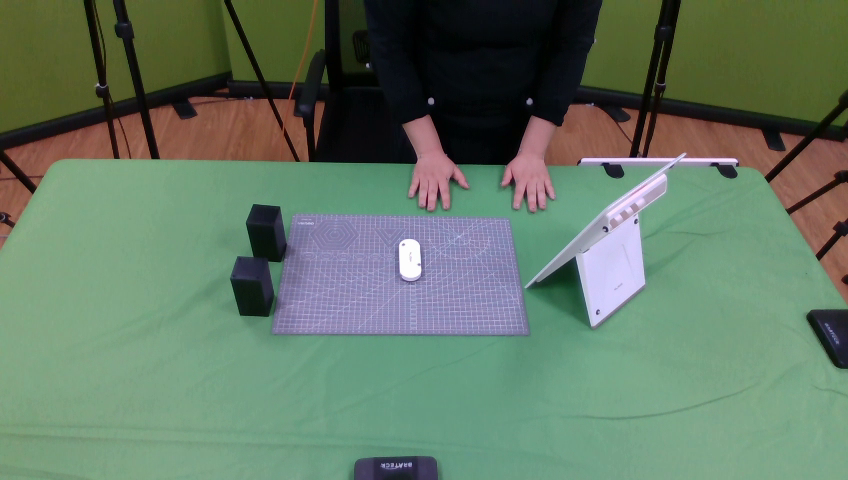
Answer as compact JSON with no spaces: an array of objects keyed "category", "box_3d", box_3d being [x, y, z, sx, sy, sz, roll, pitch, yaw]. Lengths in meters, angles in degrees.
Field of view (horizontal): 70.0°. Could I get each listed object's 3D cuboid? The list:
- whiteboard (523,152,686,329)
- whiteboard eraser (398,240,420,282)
[{"category":"whiteboard","box_3d":[0.346,0.024,1.047,0.217,0.306,0.143,-30,74,-29]},{"category":"whiteboard eraser","box_3d":[-0.029,0.039,1.156,0.041,0.019,0.100,0,45,-3]}]
